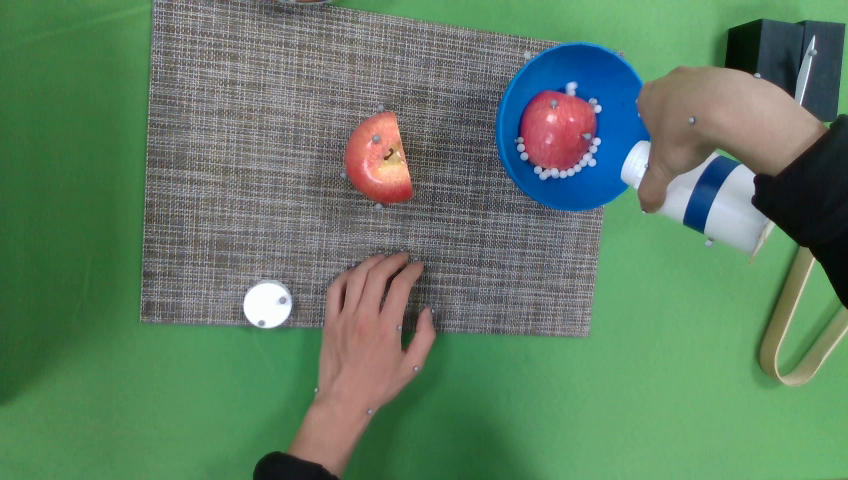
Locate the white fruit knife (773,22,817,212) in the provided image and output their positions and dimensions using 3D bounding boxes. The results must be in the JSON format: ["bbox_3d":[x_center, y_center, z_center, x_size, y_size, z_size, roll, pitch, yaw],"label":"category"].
[{"bbox_3d":[0.382,-0.118,0.634,0.016,0.027,0.209,1,115,5],"label":"white fruit knife"}]

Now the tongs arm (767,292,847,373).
[{"bbox_3d":[0.537,0.002,0.713,0.051,0.026,0.384,34,91,-13],"label":"tongs arm"}]

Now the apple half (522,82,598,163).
[{"bbox_3d":[0.134,-0.111,0.575,0.081,0.032,0.081,-1,97,-12],"label":"apple half"}]

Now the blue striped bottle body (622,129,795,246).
[{"bbox_3d":[0.224,-0.049,0.492,0.120,0.063,0.063,31,90,30],"label":"blue striped bottle body"}]

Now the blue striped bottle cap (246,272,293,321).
[{"bbox_3d":[-0.146,0.054,0.573,0.045,0.020,0.044,-2,98,-14],"label":"blue striped bottle cap"}]

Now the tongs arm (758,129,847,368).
[{"bbox_3d":[0.467,-0.038,0.696,0.028,0.027,0.387,20,94,-16],"label":"tongs arm"}]

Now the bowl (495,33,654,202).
[{"bbox_3d":[0.132,-0.113,0.579,0.152,0.076,0.151,-2,98,-12],"label":"bowl"}]

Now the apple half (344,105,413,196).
[{"bbox_3d":[-0.045,-0.077,0.548,0.053,0.074,0.081,-15,104,-7],"label":"apple half"}]
